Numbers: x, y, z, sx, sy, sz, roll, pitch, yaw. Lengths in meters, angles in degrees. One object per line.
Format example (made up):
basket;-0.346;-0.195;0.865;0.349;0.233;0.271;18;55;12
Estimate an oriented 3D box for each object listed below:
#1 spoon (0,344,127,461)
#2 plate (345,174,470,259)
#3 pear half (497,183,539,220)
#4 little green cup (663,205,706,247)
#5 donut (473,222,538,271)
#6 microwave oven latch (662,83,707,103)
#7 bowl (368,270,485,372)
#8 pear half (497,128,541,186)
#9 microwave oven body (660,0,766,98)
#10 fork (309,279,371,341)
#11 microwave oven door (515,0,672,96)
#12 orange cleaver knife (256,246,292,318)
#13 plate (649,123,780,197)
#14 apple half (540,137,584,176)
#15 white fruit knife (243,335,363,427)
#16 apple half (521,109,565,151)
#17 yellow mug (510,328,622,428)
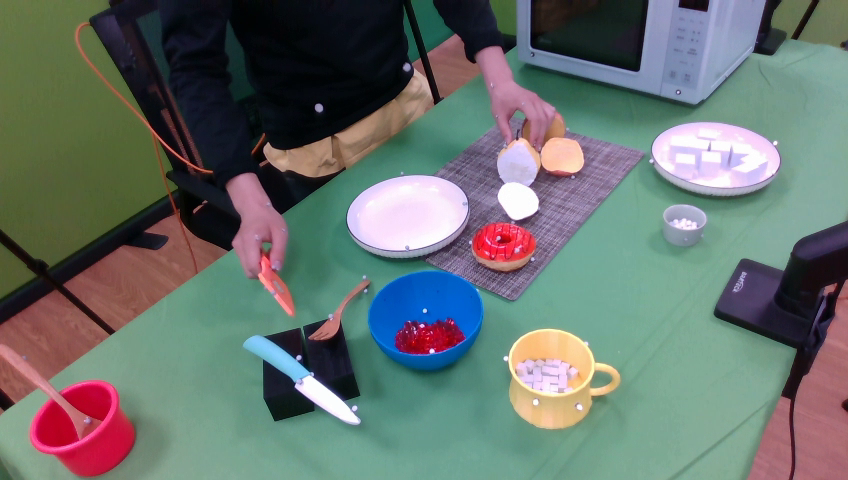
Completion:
spoon;-0.433;0.191;0.720;0.194;0.021;0.042;47;53;-6
plate;-0.026;-0.037;1.004;0.209;0.038;0.208;-4;40;4
pear half;0.154;-0.057;1.005;0.070;0.031;0.088;13;51;5
little green cup;0.396;-0.021;0.926;0.061;0.039;0.061;-4;40;4
donut;0.123;0.009;0.923;0.099;0.048;0.098;-3;37;3
microwave oven latch;0.517;-0.296;1.204;0.078;0.029;0.030;27;52;35
bowl;0.007;0.118;0.791;0.151;0.077;0.150;-5;40;4
pear half;0.168;-0.152;1.054;0.076;0.110;0.056;7;40;13
microwave oven body;0.472;-0.513;1.317;0.438;0.261;0.327;26;51;34
fork;-0.109;0.093;0.832;0.028;0.018;0.207;-4;19;15
microwave oven door;0.343;-0.455;1.259;0.353;0.245;0.039;26;51;33
orange cleaver knife;-0.212;0.055;0.852;0.012;0.077;0.210;-35;21;-7
plate;0.497;-0.135;1.046;0.207;0.039;0.206;-4;40;4
apple half;0.247;-0.146;1.089;0.081;0.033;0.081;-1;65;4
white fruit knife;-0.148;0.167;0.729;0.206;0.016;0.027;27;80;31
apple half;0.224;-0.212;1.145;0.080;0.075;0.053;-5;36;9
yellow mug;0.169;0.164;0.722;0.130;0.064;0.099;0;40;8
